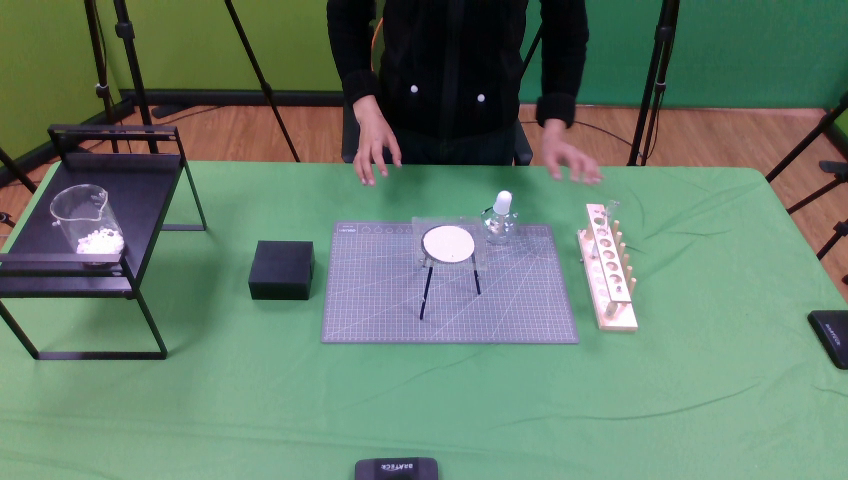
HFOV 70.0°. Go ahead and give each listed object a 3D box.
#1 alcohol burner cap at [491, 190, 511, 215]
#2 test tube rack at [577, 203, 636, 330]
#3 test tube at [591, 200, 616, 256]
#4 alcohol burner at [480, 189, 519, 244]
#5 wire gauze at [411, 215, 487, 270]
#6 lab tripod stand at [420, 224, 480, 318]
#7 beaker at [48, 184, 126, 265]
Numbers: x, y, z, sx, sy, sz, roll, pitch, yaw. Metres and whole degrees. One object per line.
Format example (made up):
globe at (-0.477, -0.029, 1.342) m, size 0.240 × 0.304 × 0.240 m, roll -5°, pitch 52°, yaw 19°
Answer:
alcohol burner cap at (0.151, -0.076, 1.165) m, size 0.034 × 0.048 × 0.033 m, roll 6°, pitch 49°, yaw -6°
test tube rack at (0.348, 0.045, 1.139) m, size 0.067 × 0.085 × 0.241 m, roll 2°, pitch 46°, yaw -2°
test tube at (0.333, -0.019, 1.130) m, size 0.017 × 0.151 × 0.017 m, roll 0°, pitch 51°, yaw 0°
alcohol burner at (0.150, -0.051, 1.191) m, size 0.078 × 0.120 × 0.077 m, roll 1°, pitch 47°, yaw -1°
wire gauze at (0.041, 0.002, 1.026) m, size 0.125 × 0.011 × 0.120 m, roll 1°, pitch 46°, yaw -3°
lab tripod stand at (0.034, 0.052, 1.070) m, size 0.148 × 0.132 × 0.147 m, roll 3°, pitch 48°, yaw -3°
beaker at (-0.479, -0.018, 0.875) m, size 0.083 × 0.101 × 0.074 m, roll 30°, pitch 52°, yaw 22°
